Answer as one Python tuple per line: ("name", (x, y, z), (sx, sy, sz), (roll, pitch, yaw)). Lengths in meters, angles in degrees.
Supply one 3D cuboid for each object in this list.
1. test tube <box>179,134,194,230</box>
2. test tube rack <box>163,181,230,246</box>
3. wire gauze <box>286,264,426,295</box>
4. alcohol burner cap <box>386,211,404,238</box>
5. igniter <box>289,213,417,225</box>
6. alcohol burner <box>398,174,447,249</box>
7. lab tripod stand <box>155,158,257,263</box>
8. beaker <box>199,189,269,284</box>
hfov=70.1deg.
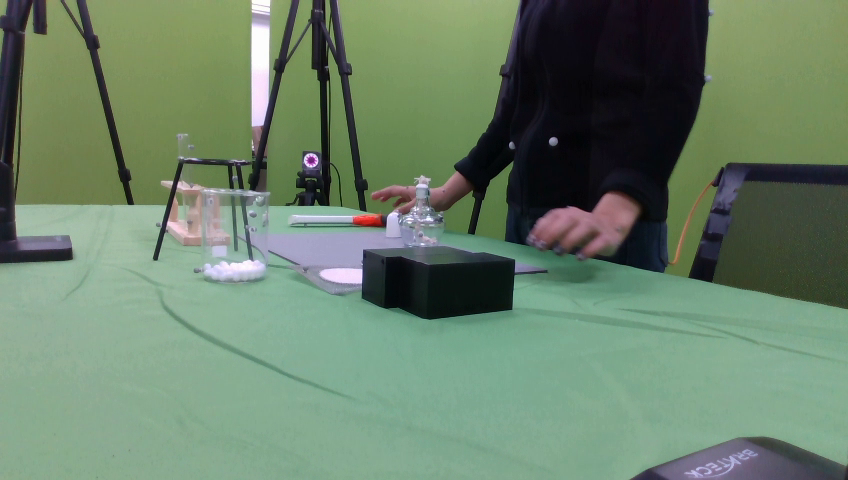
("test tube", (-0.366, -0.089, 0.938), (0.017, 0.150, 0.017), (-1, 9, 1))
("test tube rack", (-0.387, -0.050, 1.015), (0.067, 0.085, 0.241), (-2, 9, -30))
("wire gauze", (-0.079, 0.039, 0.692), (0.122, 0.011, 0.124), (-4, 11, -37))
("alcohol burner cap", (-0.053, -0.029, 1.107), (0.034, 0.048, 0.034), (2, 8, 0))
("igniter", (-0.144, -0.044, 1.276), (0.278, 0.025, 0.057), (-2, -2, -27))
("alcohol burner", (-0.002, -0.046, 0.973), (0.078, 0.119, 0.078), (0, 7, 0))
("lab tripod stand", (-0.275, -0.041, 0.797), (0.148, 0.131, 0.148), (2, 9, 0))
("beaker", (-0.209, -0.006, 0.676), (0.073, 0.100, 0.084), (7, 8, 28))
